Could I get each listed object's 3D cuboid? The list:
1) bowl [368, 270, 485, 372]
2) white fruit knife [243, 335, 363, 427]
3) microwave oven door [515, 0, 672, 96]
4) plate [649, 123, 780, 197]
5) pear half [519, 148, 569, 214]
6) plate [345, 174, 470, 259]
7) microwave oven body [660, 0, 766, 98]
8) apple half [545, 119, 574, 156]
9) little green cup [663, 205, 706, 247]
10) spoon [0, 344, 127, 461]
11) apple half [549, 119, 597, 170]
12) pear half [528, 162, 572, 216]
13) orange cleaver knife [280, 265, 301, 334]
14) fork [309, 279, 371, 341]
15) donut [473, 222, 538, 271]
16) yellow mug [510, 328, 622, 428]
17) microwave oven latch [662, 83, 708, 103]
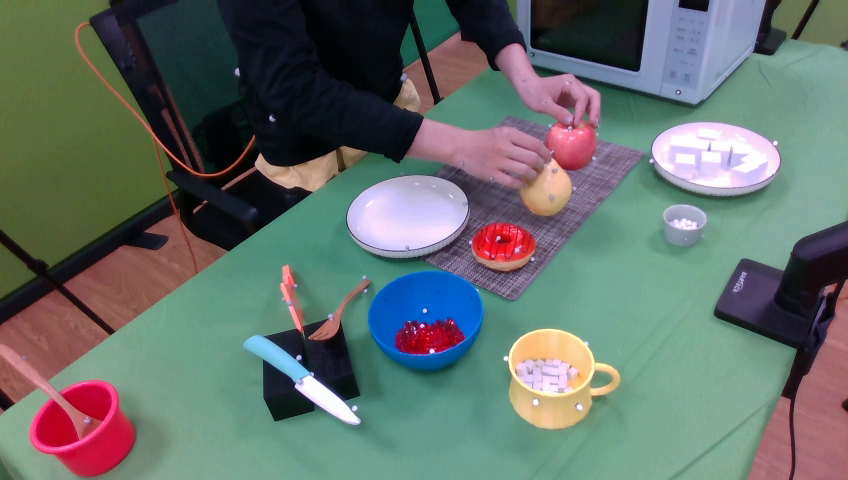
[{"bbox_3d":[0.007,0.118,0.791,0.151,0.077,0.150,-5,40,4],"label":"bowl"},{"bbox_3d":[-0.148,0.167,0.729,0.206,0.016,0.027,27,80,31],"label":"white fruit knife"},{"bbox_3d":[0.343,-0.455,1.259,0.353,0.245,0.039,26,51,33],"label":"microwave oven door"},{"bbox_3d":[0.497,-0.134,1.046,0.207,0.039,0.206,-4,40,4],"label":"plate"},{"bbox_3d":[0.176,-0.097,0.904,0.076,0.110,0.055,-21,42,-16],"label":"pear half"},{"bbox_3d":[-0.027,-0.036,1.004,0.209,0.038,0.208,-4,40,4],"label":"plate"},{"bbox_3d":[0.472,-0.513,1.317,0.438,0.261,0.327,26,51,34],"label":"microwave oven body"},{"bbox_3d":[0.218,-0.162,0.987,0.081,0.081,0.032,-35,47,-28],"label":"apple half"},{"bbox_3d":[0.396,-0.021,0.927,0.061,0.039,0.061,-4,40,4],"label":"little green cup"},{"bbox_3d":[-0.433,0.191,0.721,0.194,0.021,0.042,47,53,-6],"label":"spoon"},{"bbox_3d":[0.244,-0.147,0.962,0.081,0.075,0.053,-27,42,-33],"label":"apple half"},{"bbox_3d":[0.190,-0.069,0.885,0.071,0.088,0.031,-21,43,-17],"label":"pear half"},{"bbox_3d":[-0.188,0.081,0.862,0.012,0.077,0.210,-20,12,-9],"label":"orange cleaver knife"},{"bbox_3d":[-0.109,0.093,0.832,0.028,0.018,0.207,-5,19,15],"label":"fork"},{"bbox_3d":[0.123,0.008,0.923,0.099,0.048,0.098,-3,38,3],"label":"donut"},{"bbox_3d":[0.169,0.164,0.722,0.130,0.064,0.099,0,40,8],"label":"yellow mug"},{"bbox_3d":[0.518,-0.296,1.204,0.078,0.029,0.030,28,52,35],"label":"microwave oven latch"}]
